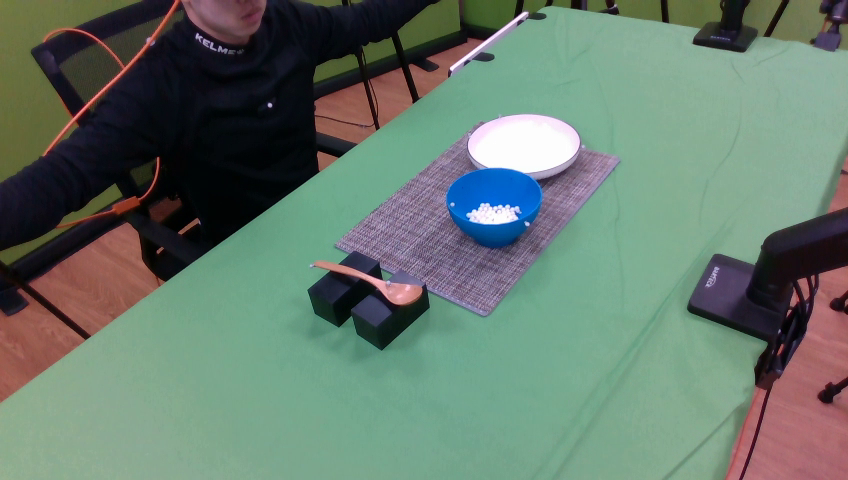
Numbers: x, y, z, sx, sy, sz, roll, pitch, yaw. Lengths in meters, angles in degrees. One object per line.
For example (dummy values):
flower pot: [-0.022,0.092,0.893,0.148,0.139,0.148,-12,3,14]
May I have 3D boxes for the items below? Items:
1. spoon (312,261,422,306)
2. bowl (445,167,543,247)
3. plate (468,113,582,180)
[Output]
spoon: [-0.084,0.055,0.842,0.192,0.022,0.042,19,46,29]
bowl: [0.111,-0.041,0.952,0.151,0.077,0.150,-4,41,4]
plate: [0.186,-0.169,1.122,0.207,0.039,0.206,-4,40,4]
